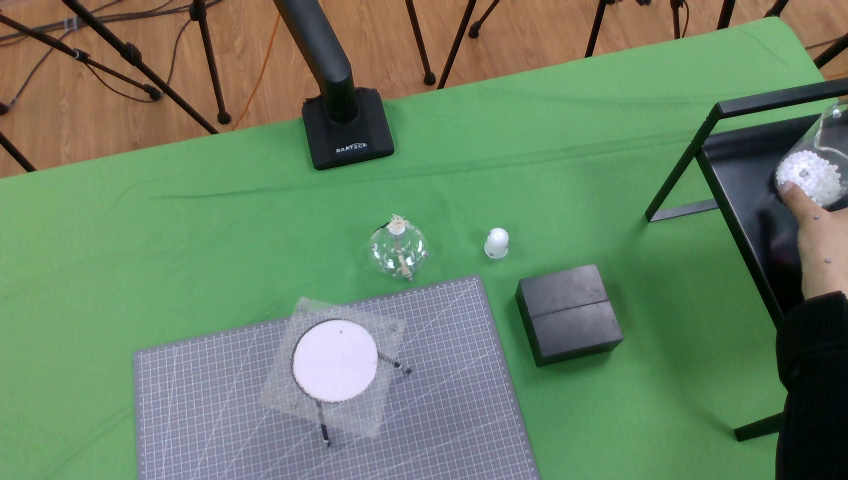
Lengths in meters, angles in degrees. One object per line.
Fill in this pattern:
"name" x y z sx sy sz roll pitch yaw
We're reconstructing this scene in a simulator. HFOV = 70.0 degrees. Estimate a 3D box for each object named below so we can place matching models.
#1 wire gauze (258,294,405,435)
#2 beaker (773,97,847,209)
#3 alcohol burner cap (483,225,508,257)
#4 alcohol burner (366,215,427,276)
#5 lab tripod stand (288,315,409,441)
"wire gauze" -0.092 0.122 0.620 0.125 0.011 0.120 14 66 6
"beaker" 0.407 -0.081 0.609 0.084 0.101 0.073 -16 65 -7
"alcohol burner cap" 0.096 0.000 0.803 0.034 0.048 0.033 0 65 1
"alcohol burner" -0.035 0.000 0.764 0.078 0.120 0.077 1 65 -1
"lab tripod stand" -0.091 0.145 0.683 0.148 0.132 0.147 0 63 0
